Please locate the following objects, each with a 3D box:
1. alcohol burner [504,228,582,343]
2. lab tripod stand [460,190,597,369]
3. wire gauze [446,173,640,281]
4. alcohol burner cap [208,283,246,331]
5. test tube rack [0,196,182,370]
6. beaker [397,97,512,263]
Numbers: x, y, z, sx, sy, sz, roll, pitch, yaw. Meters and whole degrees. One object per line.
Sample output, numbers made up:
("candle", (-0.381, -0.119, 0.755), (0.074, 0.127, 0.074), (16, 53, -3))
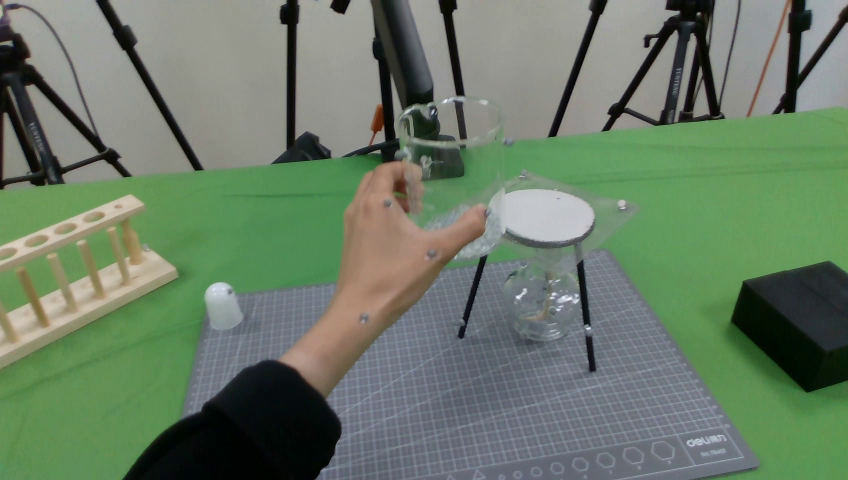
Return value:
("alcohol burner", (0.115, 0.038, 0.568), (0.078, 0.120, 0.077), (-1, 36, 1))
("lab tripod stand", (0.108, 0.033, 0.556), (0.148, 0.132, 0.147), (0, 34, 0))
("wire gauze", (0.101, -0.021, 0.517), (0.121, 0.011, 0.124), (-29, 44, -36))
("alcohol burner cap", (-0.201, 0.064, 0.611), (0.034, 0.048, 0.033), (-1, 34, 1))
("test tube rack", (-0.382, 0.048, 0.611), (0.066, 0.086, 0.242), (26, 43, 35))
("beaker", (0.022, -0.042, 0.430), (0.074, 0.101, 0.083), (-18, 37, -16))
